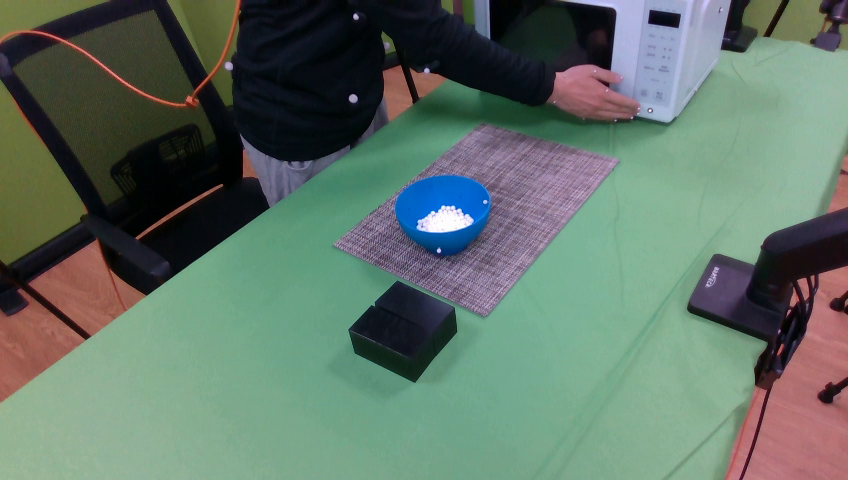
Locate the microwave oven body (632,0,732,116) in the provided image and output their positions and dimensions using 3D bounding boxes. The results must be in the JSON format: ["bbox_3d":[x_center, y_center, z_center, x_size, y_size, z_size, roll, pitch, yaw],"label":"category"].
[{"bbox_3d":[0.377,-0.463,1.267,0.438,0.261,0.327,21,49,30],"label":"microwave oven body"}]

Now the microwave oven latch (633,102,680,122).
[{"bbox_3d":[0.443,-0.249,1.157,0.078,0.029,0.030,22,49,30],"label":"microwave oven latch"}]

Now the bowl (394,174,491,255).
[{"bbox_3d":[0.032,-0.030,0.949,0.151,0.077,0.150,-4,40,4],"label":"bowl"}]

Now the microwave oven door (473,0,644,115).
[{"bbox_3d":[0.257,-0.396,1.199,0.353,0.245,0.039,21,48,29],"label":"microwave oven door"}]
